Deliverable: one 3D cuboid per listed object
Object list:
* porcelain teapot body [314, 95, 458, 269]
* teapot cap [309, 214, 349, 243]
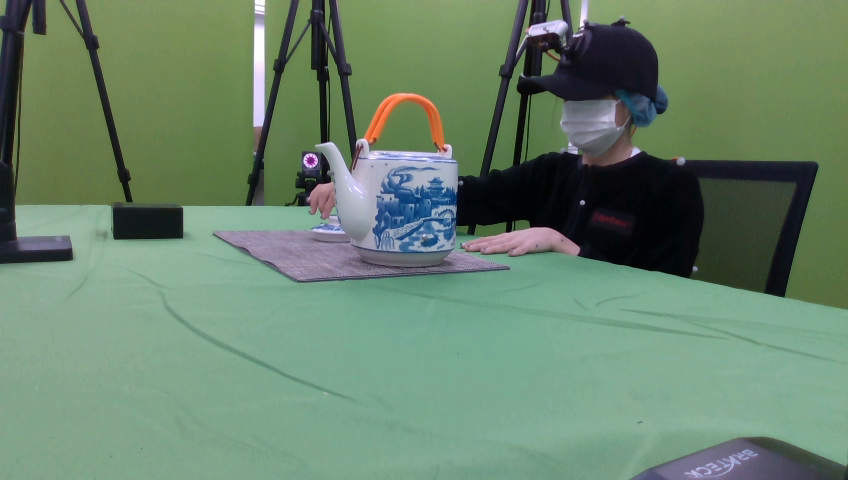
[{"bbox_3d":[-0.049,-0.079,0.800,0.206,0.225,0.144,-3,9,-37],"label":"porcelain teapot body"},{"bbox_3d":[-0.150,-0.021,1.013,0.085,0.044,0.085,3,11,0],"label":"teapot cap"}]
